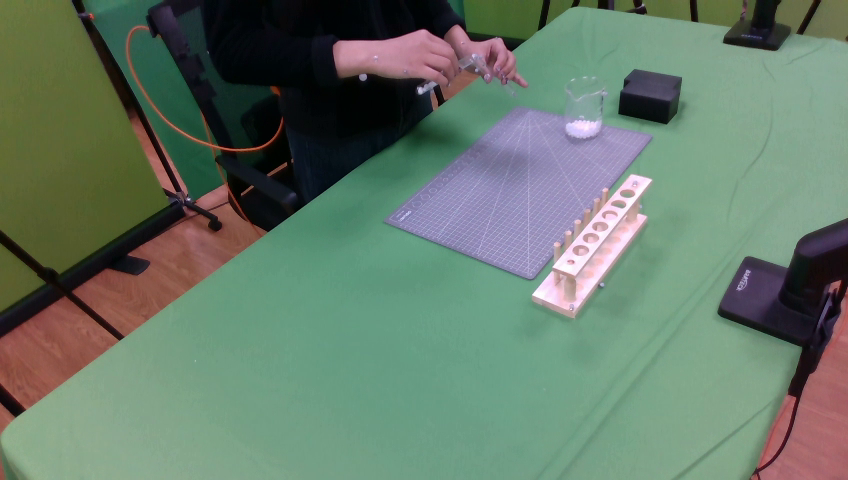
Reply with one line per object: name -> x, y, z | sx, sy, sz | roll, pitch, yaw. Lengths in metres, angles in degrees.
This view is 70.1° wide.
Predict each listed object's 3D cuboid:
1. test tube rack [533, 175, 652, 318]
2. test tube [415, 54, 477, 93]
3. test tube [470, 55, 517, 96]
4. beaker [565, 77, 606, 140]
test tube rack -> 0.251, -0.001, 0.889 | 0.066, 0.085, 0.243 | 22, 49, 33
test tube -> 0.037, -0.271, 0.981 | 0.017, 0.017, 0.151 | 25, 47, 34
test tube -> 0.128, -0.292, 1.083 | 0.017, 0.151, 0.017 | -9, 74, 34
beaker -> 0.304, -0.247, 1.153 | 0.073, 0.101, 0.084 | 15, 47, 27
